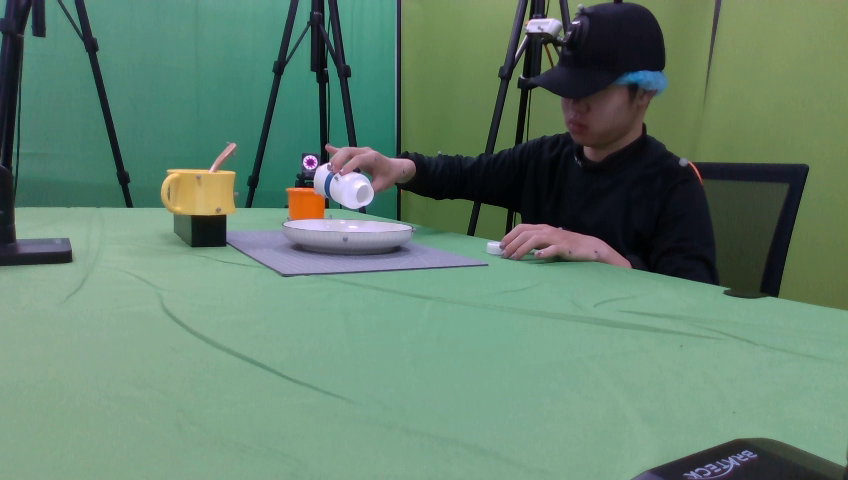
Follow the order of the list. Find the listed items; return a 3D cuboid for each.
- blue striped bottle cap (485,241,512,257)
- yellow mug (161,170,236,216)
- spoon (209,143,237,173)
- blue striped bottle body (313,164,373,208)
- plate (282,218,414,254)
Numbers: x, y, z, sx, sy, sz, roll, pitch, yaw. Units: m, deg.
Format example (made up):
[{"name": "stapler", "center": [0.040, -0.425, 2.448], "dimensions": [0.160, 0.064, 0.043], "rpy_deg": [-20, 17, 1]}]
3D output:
[{"name": "blue striped bottle cap", "center": [0.123, 0.015, 1.000], "dimensions": [0.044, 0.020, 0.044], "rpy_deg": [6, 8, 0]}, {"name": "yellow mug", "center": [-0.354, -0.074, 0.935], "dimensions": [0.099, 0.064, 0.131], "rpy_deg": [5, 9, 21]}, {"name": "spoon", "center": [-0.341, -0.113, 0.990], "dimensions": [0.041, 0.021, 0.193], "rpy_deg": [1, 40, 6]}, {"name": "blue striped bottle body", "center": [-0.140, -0.094, 1.069], "dimensions": [0.063, 0.063, 0.120], "rpy_deg": [-4, 19, -42]}, {"name": "plate", "center": [-0.121, -0.007, 0.971], "dimensions": [0.208, 0.039, 0.207], "rpy_deg": [2, 7, 0]}]
